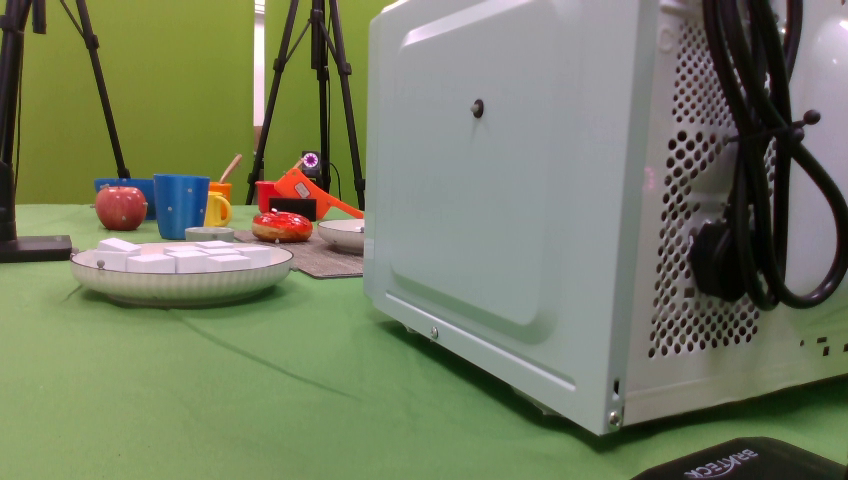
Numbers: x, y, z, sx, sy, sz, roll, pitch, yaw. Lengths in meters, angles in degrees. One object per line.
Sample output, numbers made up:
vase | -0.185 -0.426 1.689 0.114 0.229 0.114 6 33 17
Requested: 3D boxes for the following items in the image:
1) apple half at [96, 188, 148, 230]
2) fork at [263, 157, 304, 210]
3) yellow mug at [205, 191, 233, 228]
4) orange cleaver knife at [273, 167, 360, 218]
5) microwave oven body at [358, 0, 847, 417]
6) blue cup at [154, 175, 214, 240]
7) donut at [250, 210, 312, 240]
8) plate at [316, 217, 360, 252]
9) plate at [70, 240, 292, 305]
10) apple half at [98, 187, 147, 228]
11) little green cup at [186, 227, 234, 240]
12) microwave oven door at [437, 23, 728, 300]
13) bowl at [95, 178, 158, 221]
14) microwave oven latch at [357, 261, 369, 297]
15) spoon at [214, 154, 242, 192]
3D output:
apple half | -0.517 -0.052 1.036 0.081 0.074 0.053 2 10 -26
fork | -0.345 -0.143 1.505 0.028 0.019 0.207 -4 46 29
yellow mug | -0.415 -0.057 1.132 0.130 0.064 0.100 6 8 16
orange cleaver knife | -0.238 -0.091 1.381 0.212 0.077 0.012 31 0 -19
microwave oven body | 0.211 -0.047 0.474 0.444 0.260 0.324 -1 7 -28
blue cup | -0.390 -0.053 0.978 0.093 0.100 0.092 3 6 0
donut | -0.231 -0.022 0.983 0.099 0.048 0.099 5 7 0
plate | -0.064 -0.007 0.943 0.209 0.038 0.209 3 8 0
plate | -0.242 0.031 0.618 0.208 0.039 0.207 2 8 0
apple half | -0.534 -0.059 1.071 0.082 0.081 0.032 -1 12 -25
little green cup | -0.284 0.005 0.805 0.061 0.038 0.061 2 8 0
microwave oven door | 0.181 -0.072 0.621 0.358 0.243 0.039 -2 8 -29
bowl | -0.576 -0.081 1.217 0.151 0.077 0.151 3 8 0
microwave oven latch | -0.019 0.033 0.531 0.079 0.029 0.030 -1 7 -27
spoon | -0.439 -0.124 1.317 0.041 0.193 0.022 5 -36 16
